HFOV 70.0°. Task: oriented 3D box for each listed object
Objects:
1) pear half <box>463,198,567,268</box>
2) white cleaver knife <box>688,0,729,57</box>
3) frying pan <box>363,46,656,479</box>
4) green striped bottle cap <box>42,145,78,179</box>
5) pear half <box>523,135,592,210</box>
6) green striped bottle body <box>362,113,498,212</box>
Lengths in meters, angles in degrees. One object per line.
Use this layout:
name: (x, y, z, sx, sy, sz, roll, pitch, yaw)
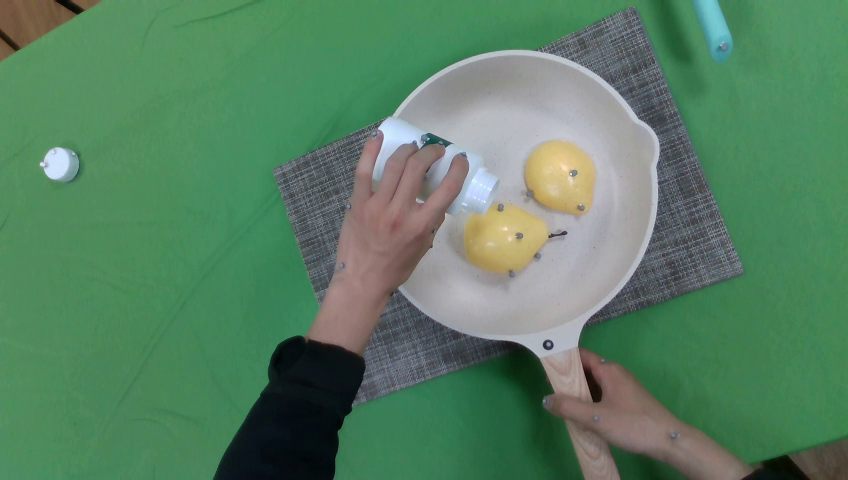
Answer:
pear half: (0.095, -0.009, 0.639, 0.109, 0.056, 0.076, -8, 93, 11)
white cleaver knife: (0.245, -0.315, 0.605, 0.021, 0.066, 0.285, -19, 83, 18)
frying pan: (0.112, 0.049, 0.611, 0.306, 0.103, 0.485, -19, 77, 14)
green striped bottle cap: (-0.483, -0.103, 0.804, 0.044, 0.020, 0.044, 0, 89, 14)
pear half: (0.143, -0.071, 0.640, 0.070, 0.031, 0.087, -37, 78, 15)
green striped bottle body: (0.008, -0.069, 0.568, 0.119, 0.063, 0.063, 25, 95, 10)
